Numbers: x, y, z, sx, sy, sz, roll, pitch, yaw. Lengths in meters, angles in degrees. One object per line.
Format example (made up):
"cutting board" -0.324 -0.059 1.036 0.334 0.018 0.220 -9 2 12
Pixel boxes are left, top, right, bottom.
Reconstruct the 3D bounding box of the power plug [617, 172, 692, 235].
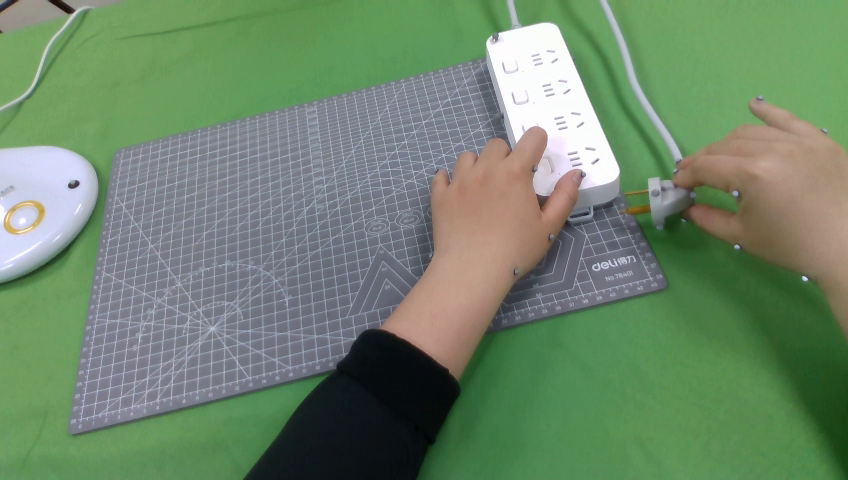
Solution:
"power plug" 0.177 -0.027 0.464 0.052 0.035 0.072 -4 14 22

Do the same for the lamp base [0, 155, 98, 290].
"lamp base" -0.412 -0.066 0.517 0.178 0.182 0.160 18 60 26

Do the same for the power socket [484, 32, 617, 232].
"power socket" 0.105 -0.105 0.532 0.072 0.033 0.224 -11 54 2
